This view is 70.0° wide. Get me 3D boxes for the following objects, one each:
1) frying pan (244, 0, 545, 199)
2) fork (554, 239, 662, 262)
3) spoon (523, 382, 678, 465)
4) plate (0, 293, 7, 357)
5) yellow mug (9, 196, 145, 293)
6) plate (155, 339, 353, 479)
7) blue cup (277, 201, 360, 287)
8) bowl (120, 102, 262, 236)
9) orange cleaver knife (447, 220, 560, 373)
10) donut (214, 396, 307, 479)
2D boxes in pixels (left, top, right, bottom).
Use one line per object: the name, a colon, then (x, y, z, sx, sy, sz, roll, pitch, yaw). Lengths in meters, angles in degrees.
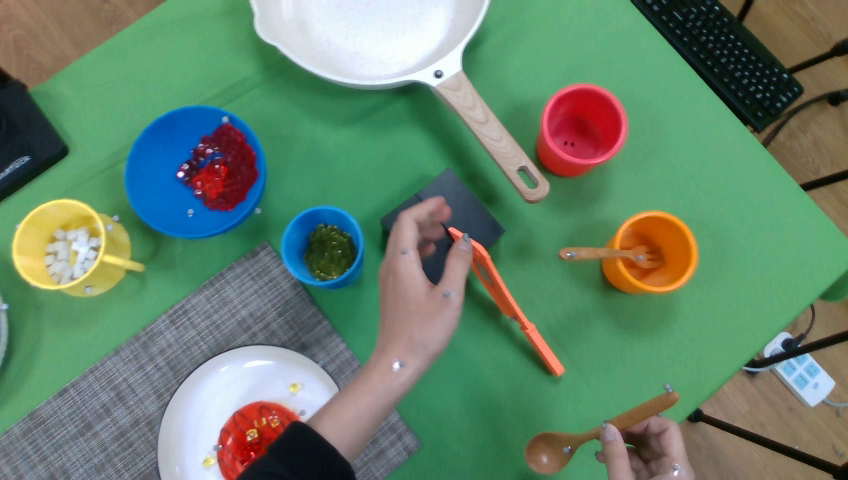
frying pan: (-0.015, -0.238, 0.717, 0.307, 0.103, 0.484, -33, 74, -6)
fork: (0.204, 0.010, 0.656, 0.209, 0.018, 0.028, 2, 76, -45)
spoon: (0.160, 0.174, 0.569, 0.022, 0.194, 0.041, -17, 71, -40)
plate: (-0.565, 0.106, 0.672, 0.208, 0.039, 0.207, 0, 80, -1)
yellow mug: (-0.380, 0.011, 0.681, 0.131, 0.064, 0.099, 14, 80, 0)
plate: (-0.181, 0.213, 0.660, 0.209, 0.038, 0.208, 0, 80, -2)
blue cup: (-0.110, 0.012, 0.671, 0.093, 0.100, 0.092, 0, 77, -2)
bowl: (-0.254, -0.072, 0.694, 0.151, 0.077, 0.151, 0, 80, -1)
orange cleaver knife: (0.089, 0.064, 0.677, 0.012, 0.076, 0.213, -38, 111, -7)
donut: (-0.174, 0.216, 0.648, 0.099, 0.048, 0.099, 0, 83, -3)
